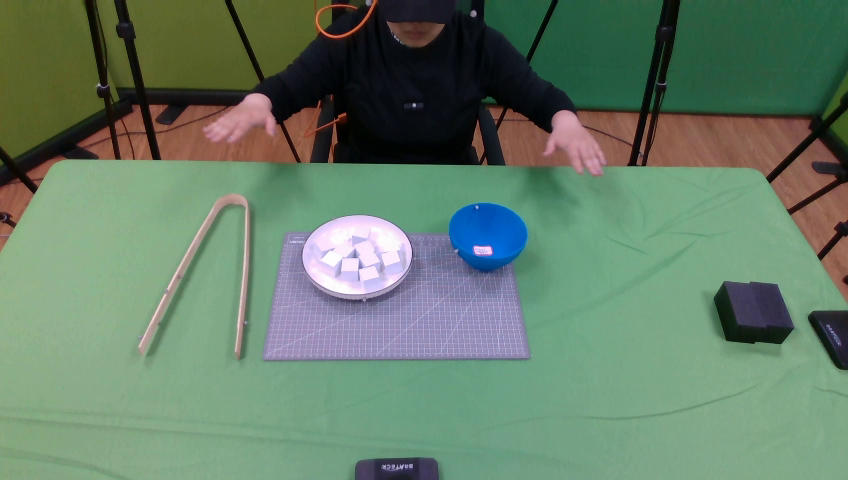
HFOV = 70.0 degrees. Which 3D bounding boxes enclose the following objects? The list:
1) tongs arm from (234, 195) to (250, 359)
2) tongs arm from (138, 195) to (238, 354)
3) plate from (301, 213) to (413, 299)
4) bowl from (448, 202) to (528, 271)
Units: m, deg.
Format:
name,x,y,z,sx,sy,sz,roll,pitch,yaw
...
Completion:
name,x,y,z,sx,sy,sz,roll,pitch,yaw
tongs arm,-0.339,0.052,1.118,0.028,0.028,0.385,-6,47,-7
tongs arm,-0.421,0.047,1.111,0.051,0.026,0.382,6,45,0
plate,-0.124,0.033,1.143,0.208,0.039,0.206,2,46,-2
bowl,0.118,0.006,1.160,0.151,0.077,0.150,2,46,-2
